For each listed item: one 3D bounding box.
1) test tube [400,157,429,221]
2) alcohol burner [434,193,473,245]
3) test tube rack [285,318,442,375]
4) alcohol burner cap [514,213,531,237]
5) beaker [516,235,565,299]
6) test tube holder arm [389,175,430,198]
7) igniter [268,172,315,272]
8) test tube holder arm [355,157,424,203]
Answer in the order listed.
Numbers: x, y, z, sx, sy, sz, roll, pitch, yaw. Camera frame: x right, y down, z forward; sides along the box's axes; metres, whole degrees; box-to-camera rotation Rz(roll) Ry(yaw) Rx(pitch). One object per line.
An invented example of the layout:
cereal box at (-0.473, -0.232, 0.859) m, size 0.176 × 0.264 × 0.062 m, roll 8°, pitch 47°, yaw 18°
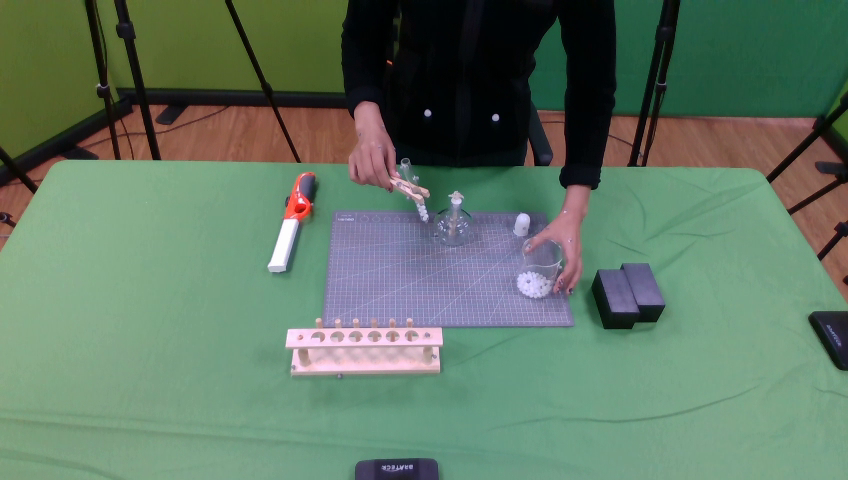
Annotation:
test tube at (-0.015, -0.083, 1.032) m, size 0.017 × 0.151 × 0.017 m, roll -9°, pitch 50°, yaw 11°
alcohol burner at (0.059, -0.046, 1.179) m, size 0.078 × 0.120 × 0.077 m, roll 1°, pitch 48°, yaw -1°
test tube rack at (-0.095, 0.168, 0.986) m, size 0.242 × 0.085 × 0.066 m, roll 0°, pitch 46°, yaw -4°
alcohol burner cap at (0.200, -0.034, 1.227) m, size 0.034 × 0.048 × 0.033 m, roll 1°, pitch 46°, yaw -1°
beaker at (0.207, 0.054, 1.103) m, size 0.084 × 0.101 × 0.073 m, roll -35°, pitch 57°, yaw -30°
test tube holder arm at (-0.028, -0.094, 1.048) m, size 0.087 × 0.015 × 0.010 m, roll 24°, pitch 61°, yaw 31°
igniter at (-0.263, -0.045, 1.219) m, size 0.057 × 0.025 × 0.275 m, roll -2°, pitch 45°, yaw 8°
test tube holder arm at (-0.064, -0.108, 1.071) m, size 0.177 × 0.015 × 0.013 m, roll 32°, pitch 65°, yaw 34°
